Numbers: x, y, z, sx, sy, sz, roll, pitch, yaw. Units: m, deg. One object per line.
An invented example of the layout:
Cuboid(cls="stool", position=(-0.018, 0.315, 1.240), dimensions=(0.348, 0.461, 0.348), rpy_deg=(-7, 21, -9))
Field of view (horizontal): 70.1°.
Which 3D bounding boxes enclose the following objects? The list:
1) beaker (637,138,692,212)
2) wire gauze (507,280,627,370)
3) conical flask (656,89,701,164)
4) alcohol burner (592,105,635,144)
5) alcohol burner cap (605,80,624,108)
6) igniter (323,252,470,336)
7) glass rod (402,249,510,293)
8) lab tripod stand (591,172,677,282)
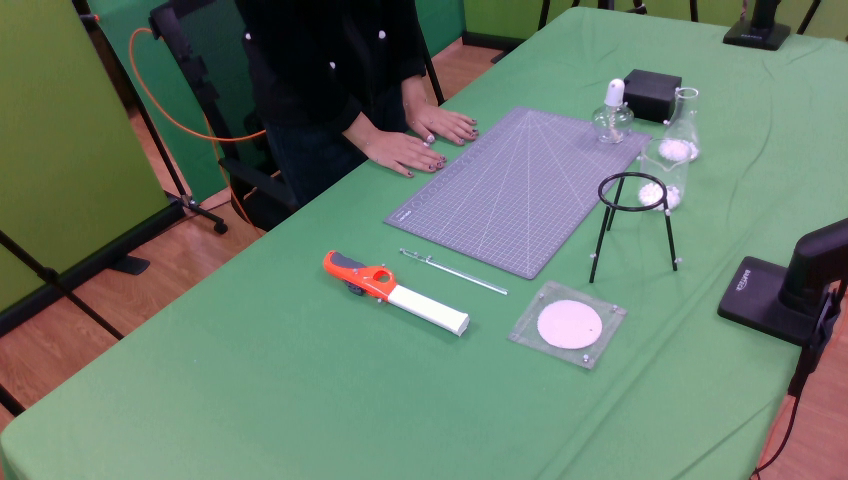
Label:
Cuboid(cls="beaker", position=(0.383, -0.100, 0.970), dimensions=(0.074, 0.101, 0.084), rpy_deg=(2, 42, 14))
Cuboid(cls="wire gauze", position=(0.196, 0.114, 0.823), dimensions=(0.120, 0.011, 0.125), rpy_deg=(20, 50, 31))
Cuboid(cls="conical flask", position=(0.452, -0.201, 1.057), dimensions=(0.075, 0.122, 0.075), rpy_deg=(-6, 40, 5))
Cuboid(cls="alcohol burner", position=(0.353, -0.242, 1.126), dimensions=(0.078, 0.119, 0.077), rpy_deg=(-5, 38, 5))
Cuboid(cls="alcohol burner cap", position=(0.350, -0.268, 1.102), dimensions=(0.034, 0.048, 0.033), rpy_deg=(-2, 45, 3))
Cuboid(cls="igniter", position=(-0.052, 0.075, 0.901), dimensions=(0.274, 0.025, 0.057), rpy_deg=(22, 60, 32))
Cuboid(cls="glass rod", position=(0.045, 0.046, 0.932), dimensions=(0.198, 0.008, 0.008), rpy_deg=(20, 49, 31))
Cuboid(cls="lab tripod stand", position=(0.292, -0.022, 0.867), dimensions=(0.148, 0.132, 0.147), rpy_deg=(-7, 39, 6))
